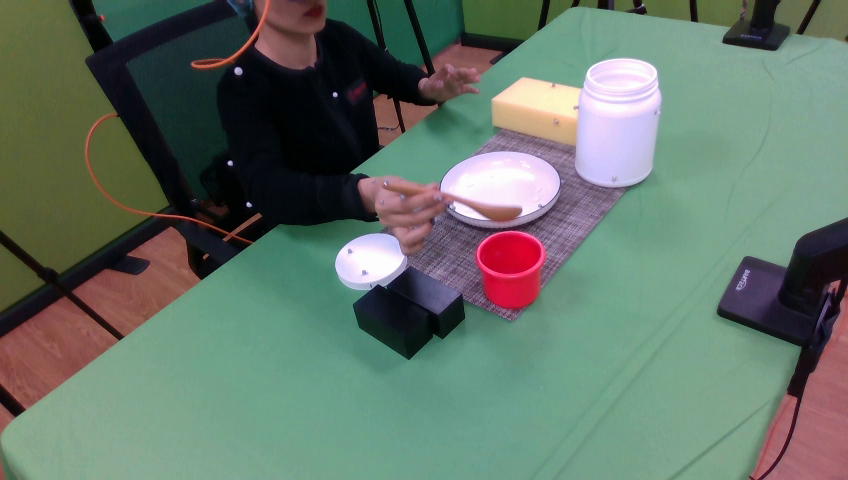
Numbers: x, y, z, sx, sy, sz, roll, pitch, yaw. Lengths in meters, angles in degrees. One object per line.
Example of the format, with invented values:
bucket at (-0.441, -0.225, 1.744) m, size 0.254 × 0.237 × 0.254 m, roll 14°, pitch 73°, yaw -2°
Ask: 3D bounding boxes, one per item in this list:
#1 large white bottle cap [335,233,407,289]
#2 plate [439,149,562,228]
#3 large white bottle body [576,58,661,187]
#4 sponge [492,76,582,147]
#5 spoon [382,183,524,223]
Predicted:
large white bottle cap at (-0.085, 0.032, 0.961) m, size 0.115 × 0.018 × 0.114 m, roll -6°, pitch 41°, yaw 6°
plate at (0.131, -0.085, 1.040) m, size 0.209 × 0.038 × 0.208 m, roll -5°, pitch 40°, yaw 5°
large white bottle body at (0.326, -0.197, 1.021) m, size 0.130 × 0.185 × 0.130 m, roll -5°, pitch 40°, yaw 5°
sponge at (0.254, -0.259, 1.207) m, size 0.205 × 0.061 × 0.118 m, roll 22°, pitch 47°, yaw 31°
spoon at (0.040, -0.050, 0.780) m, size 0.195 × 0.041 × 0.021 m, roll 14°, pitch 66°, yaw -13°
